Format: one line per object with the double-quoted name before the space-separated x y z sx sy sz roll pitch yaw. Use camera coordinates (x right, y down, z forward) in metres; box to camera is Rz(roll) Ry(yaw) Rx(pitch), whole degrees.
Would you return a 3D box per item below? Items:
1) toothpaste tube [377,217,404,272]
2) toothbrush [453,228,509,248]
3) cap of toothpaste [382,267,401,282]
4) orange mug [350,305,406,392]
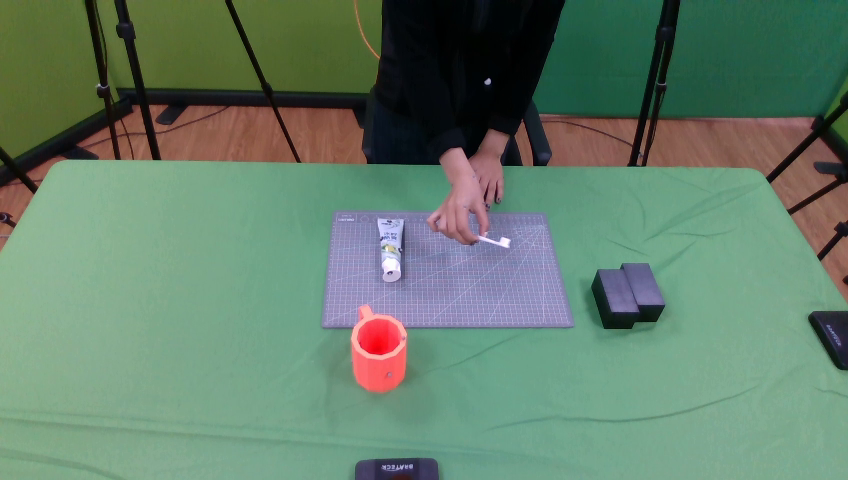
"toothpaste tube" -0.063 0.008 1.179 0.055 0.034 0.164 5 42 -9
"toothbrush" 0.101 -0.007 1.099 0.014 0.016 0.181 13 2 -28
"cap of toothpaste" -0.060 0.063 1.119 0.037 0.037 0.011 -9 50 -12
"orange mug" -0.080 0.168 0.978 0.083 0.101 0.125 -16 54 -18
